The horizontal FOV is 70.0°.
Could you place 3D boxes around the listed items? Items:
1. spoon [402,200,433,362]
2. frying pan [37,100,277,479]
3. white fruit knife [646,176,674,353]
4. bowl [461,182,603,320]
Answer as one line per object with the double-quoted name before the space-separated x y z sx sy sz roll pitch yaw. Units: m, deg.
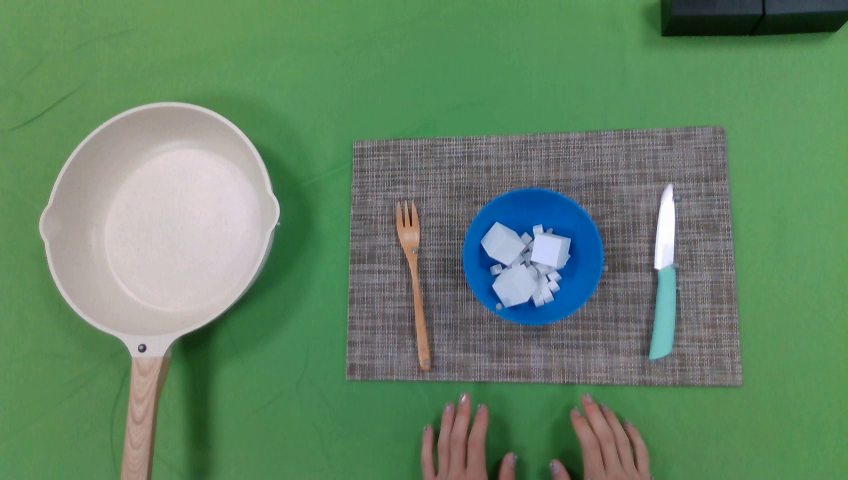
"spoon" -0.008 0.048 0.722 0.041 0.022 0.193 -4 78 22
"frying pan" -0.320 0.074 0.722 0.306 0.103 0.485 -2 73 8
"white fruit knife" 0.273 0.026 0.691 0.027 0.016 0.206 6 81 0
"bowl" 0.119 0.017 0.682 0.151 0.077 0.151 -1 81 7
